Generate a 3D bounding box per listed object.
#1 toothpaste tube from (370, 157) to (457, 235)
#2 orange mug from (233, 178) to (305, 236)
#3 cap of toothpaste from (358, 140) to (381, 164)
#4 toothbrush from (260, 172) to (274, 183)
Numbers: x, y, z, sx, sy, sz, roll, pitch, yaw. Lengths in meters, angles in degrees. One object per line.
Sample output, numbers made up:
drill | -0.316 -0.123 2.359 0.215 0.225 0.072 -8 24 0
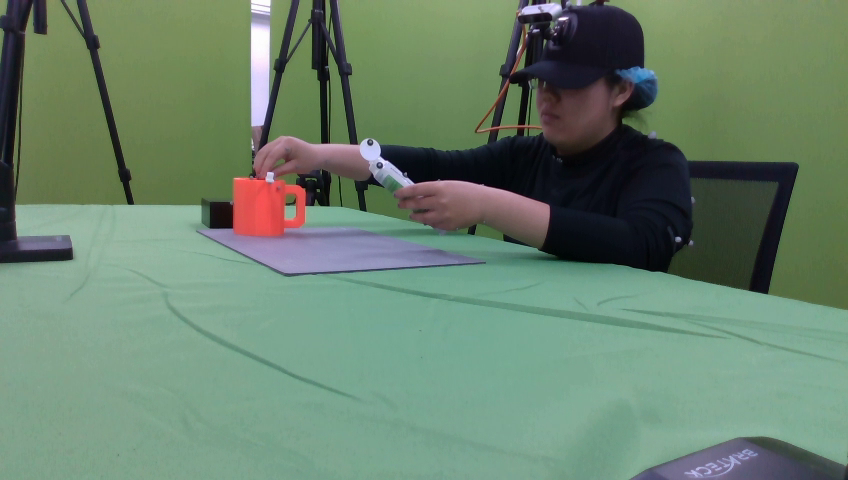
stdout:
toothpaste tube | -0.021 -0.074 0.952 0.034 0.165 0.055 -52 6 -34
orange mug | -0.273 -0.061 1.067 0.127 0.101 0.083 -5 10 -24
cap of toothpaste | -0.084 -0.134 0.926 0.037 0.037 0.011 0 4 -21
toothbrush | -0.275 -0.112 1.053 0.014 0.016 0.181 -5 9 -17
